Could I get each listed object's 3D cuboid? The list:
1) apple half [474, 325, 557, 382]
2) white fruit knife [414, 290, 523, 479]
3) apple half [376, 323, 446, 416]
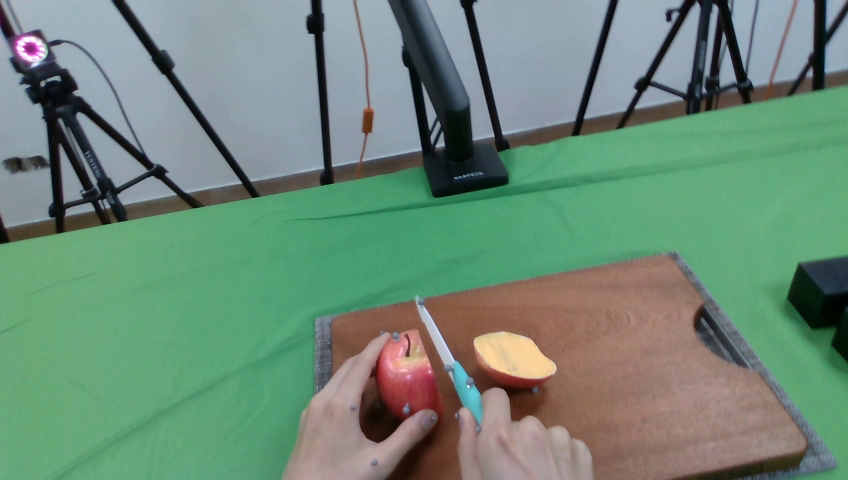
[{"bbox_3d":[0.082,0.114,0.578,0.081,0.033,0.080,11,23,-4],"label":"apple half"},{"bbox_3d":[0.028,0.108,0.496,0.016,0.027,0.205,-10,39,-20],"label":"white fruit knife"},{"bbox_3d":[-0.016,0.124,0.558,0.053,0.075,0.080,-20,42,-7],"label":"apple half"}]
